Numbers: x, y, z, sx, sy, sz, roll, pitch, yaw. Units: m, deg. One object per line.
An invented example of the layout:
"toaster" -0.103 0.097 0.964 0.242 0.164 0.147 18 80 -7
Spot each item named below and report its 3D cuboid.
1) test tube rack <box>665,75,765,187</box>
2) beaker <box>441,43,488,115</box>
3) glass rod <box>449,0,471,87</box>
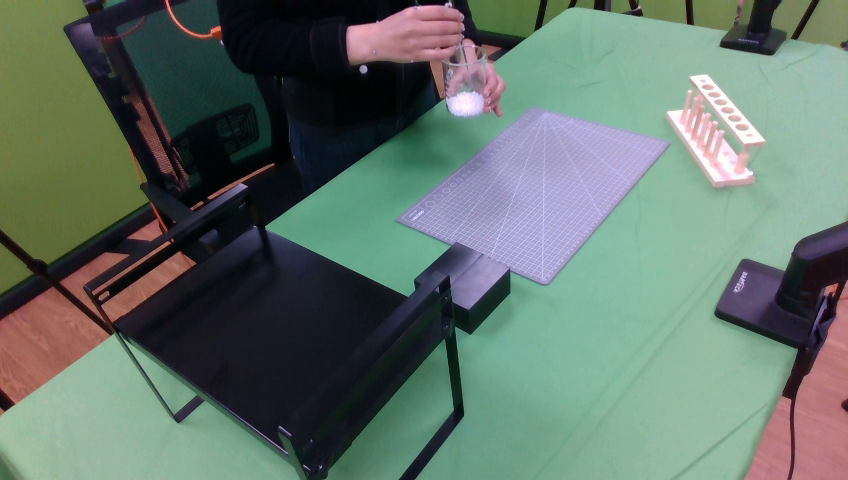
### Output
"test tube rack" 0.512 -0.201 1.082 0.067 0.085 0.241 -5 41 2
"beaker" 0.068 -0.268 1.012 0.074 0.101 0.083 -34 47 -27
"glass rod" 0.053 -0.323 0.941 0.008 0.201 0.008 -9 48 10
